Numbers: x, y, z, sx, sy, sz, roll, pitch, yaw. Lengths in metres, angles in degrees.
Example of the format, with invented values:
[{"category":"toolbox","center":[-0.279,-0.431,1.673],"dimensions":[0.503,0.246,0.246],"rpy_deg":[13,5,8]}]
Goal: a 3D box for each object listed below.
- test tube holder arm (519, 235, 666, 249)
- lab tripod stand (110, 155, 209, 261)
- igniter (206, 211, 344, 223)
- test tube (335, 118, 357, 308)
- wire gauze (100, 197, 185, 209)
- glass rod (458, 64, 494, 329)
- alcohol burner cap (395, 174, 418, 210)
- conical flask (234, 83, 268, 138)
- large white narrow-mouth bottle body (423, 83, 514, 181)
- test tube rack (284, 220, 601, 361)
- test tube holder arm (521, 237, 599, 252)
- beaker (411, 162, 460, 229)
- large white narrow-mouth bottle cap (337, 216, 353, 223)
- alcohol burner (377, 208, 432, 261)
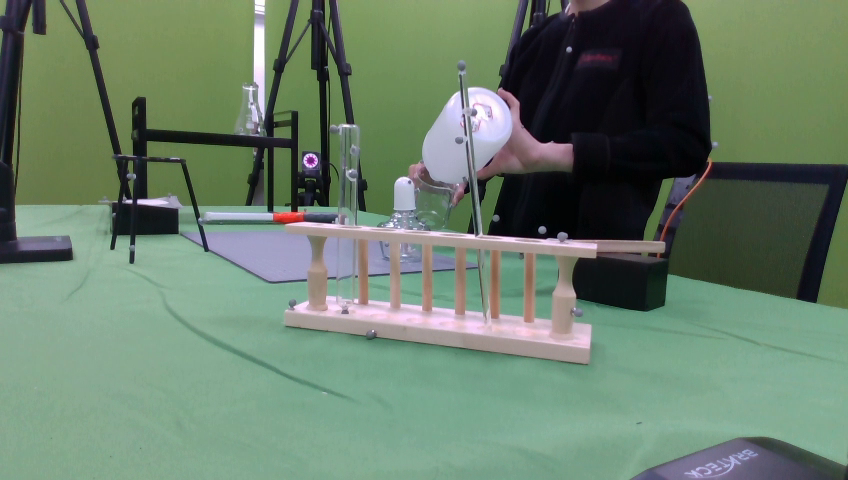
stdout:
[{"category":"test tube holder arm","center":[0.185,0.003,0.655],"dimensions":[0.179,0.015,0.013],"rpy_deg":[0,15,-19]},{"category":"lab tripod stand","center":[-0.361,-0.046,0.806],"dimensions":[0.148,0.131,0.148],"rpy_deg":[2,5,0]},{"category":"igniter","center":[-0.302,-0.048,1.249],"dimensions":[0.278,0.025,0.057],"rpy_deg":[-2,-2,-27]},{"category":"test tube","center":[-0.061,-0.019,0.476],"dimensions":[0.017,0.150,0.017],"rpy_deg":[2,11,0]},{"category":"wire gauze","center":[-0.469,-0.062,1.008],"dimensions":[0.126,0.011,0.121],"rpy_deg":[-2,8,-25]},{"category":"glass rod","center":[0.039,-0.029,0.449],"dimensions":[0.008,0.199,0.008],"rpy_deg":[-7,9,1]},{"category":"alcohol burner cap","center":[-0.026,-0.067,0.833],"dimensions":[0.034,0.048,0.034],"rpy_deg":[-1,12,1]},{"category":"conical flask","center":[-0.400,-0.298,1.396],"dimensions":[0.075,0.122,0.075],"rpy_deg":[2,8,0]},{"category":"large white narrow-mouth bottle body","center":[0.053,-0.147,0.918],"dimensions":[0.102,0.101,0.194],"rpy_deg":[-1,-20,-19]},{"category":"test tube rack","center":[0.013,0.032,0.482],"dimensions":[0.242,0.085,0.067],"rpy_deg":[4,7,16]},{"category":"test tube holder arm","center":[0.144,0.004,0.635],"dimensions":[0.088,0.015,0.010],"rpy_deg":[0,15,-19]},{"category":"beaker","center":[0.020,-0.074,1.040],"dimensions":[0.083,0.100,0.074],"rpy_deg":[34,44,26]},{"category":"large white narrow-mouth bottle cap","center":[-0.161,-0.036,1.231],"dimensions":[0.038,0.024,0.037],"rpy_deg":[2,8,0]},{"category":"alcohol burner","center":[-0.027,-0.031,0.838],"dimensions":[0.078,0.119,0.078],"rpy_deg":[0,6,0]}]
